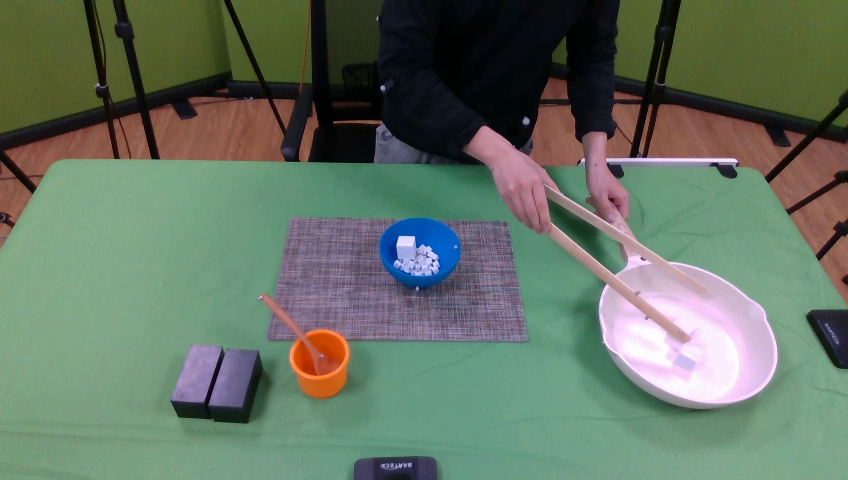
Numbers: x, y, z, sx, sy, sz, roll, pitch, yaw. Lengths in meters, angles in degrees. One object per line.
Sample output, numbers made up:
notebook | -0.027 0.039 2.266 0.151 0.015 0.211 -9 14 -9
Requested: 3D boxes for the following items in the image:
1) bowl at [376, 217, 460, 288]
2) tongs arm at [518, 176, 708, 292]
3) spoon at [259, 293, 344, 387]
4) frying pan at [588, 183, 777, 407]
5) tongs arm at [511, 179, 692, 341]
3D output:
bowl | -0.012 0.036 1.118 0.151 0.077 0.150 2 46 -2
tongs arm | 0.333 -0.009 1.071 0.388 0.028 0.028 31 60 -3
spoon | -0.191 0.155 0.947 0.021 0.194 0.041 -13 27 50
frying pan | 0.412 0.079 1.097 0.307 0.103 0.484 -9 56 -14
tongs arm | 0.300 0.034 1.033 0.384 0.026 0.050 38 57 3
